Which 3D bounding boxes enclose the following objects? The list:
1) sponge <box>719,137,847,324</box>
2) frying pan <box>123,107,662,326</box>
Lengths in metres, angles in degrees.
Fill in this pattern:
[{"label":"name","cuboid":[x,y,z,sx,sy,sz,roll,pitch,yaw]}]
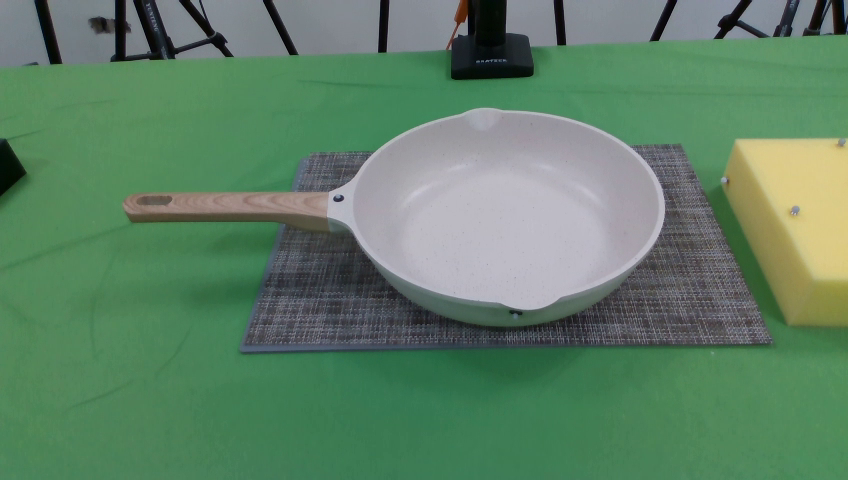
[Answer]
[{"label":"sponge","cuboid":[0.374,-0.017,0.568,0.118,0.061,0.205,0,42,4]},{"label":"frying pan","cuboid":[-0.030,-0.030,0.579,0.489,0.103,0.303,2,41,-5]}]
